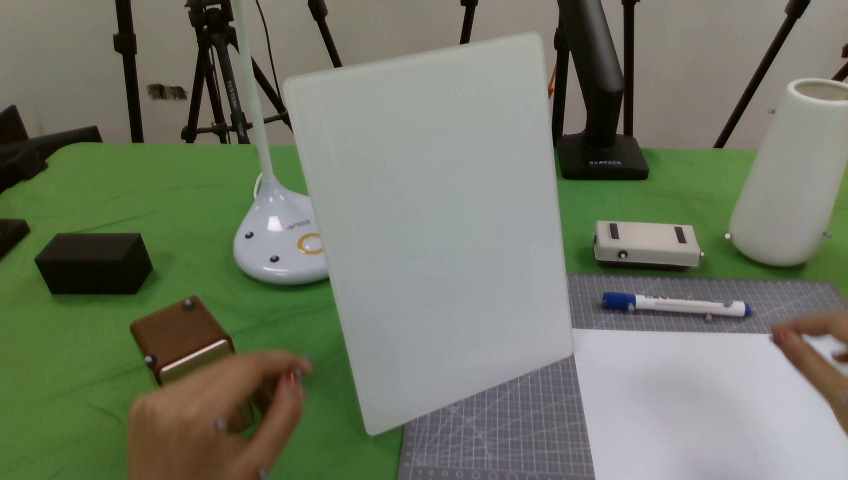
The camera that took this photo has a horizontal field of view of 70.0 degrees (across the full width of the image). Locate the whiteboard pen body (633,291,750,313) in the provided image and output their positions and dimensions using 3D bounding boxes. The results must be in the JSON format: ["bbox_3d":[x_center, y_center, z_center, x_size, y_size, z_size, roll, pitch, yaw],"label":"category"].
[{"bbox_3d":[0.266,0.064,0.634,0.140,0.017,0.017,3,36,8],"label":"whiteboard pen body"}]

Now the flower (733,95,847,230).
[{"bbox_3d":[0.414,-0.130,0.602,0.044,0.364,0.038,-12,54,-24],"label":"flower"}]

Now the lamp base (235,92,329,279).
[{"bbox_3d":[-0.162,-0.072,0.708,0.161,0.182,0.177,-30,42,-33],"label":"lamp base"}]

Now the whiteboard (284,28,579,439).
[{"bbox_3d":[0.001,-0.017,0.566,0.218,0.307,0.142,-17,19,-18],"label":"whiteboard"}]

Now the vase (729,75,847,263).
[{"bbox_3d":[0.408,-0.072,0.663,0.098,0.202,0.097,-1,36,1],"label":"vase"}]

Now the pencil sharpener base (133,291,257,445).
[{"bbox_3d":[-0.196,0.109,0.523,0.061,0.108,0.076,-27,42,-29],"label":"pencil sharpener base"}]

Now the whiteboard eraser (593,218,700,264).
[{"bbox_3d":[0.256,0.002,0.703,0.112,0.042,0.055,2,34,7],"label":"whiteboard eraser"}]

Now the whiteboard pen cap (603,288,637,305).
[{"bbox_3d":[0.208,0.061,0.641,0.033,0.018,0.018,6,37,6],"label":"whiteboard pen cap"}]

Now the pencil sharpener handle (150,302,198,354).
[{"bbox_3d":[-0.227,0.076,0.549,0.036,0.068,0.030,-33,45,-23],"label":"pencil sharpener handle"}]
